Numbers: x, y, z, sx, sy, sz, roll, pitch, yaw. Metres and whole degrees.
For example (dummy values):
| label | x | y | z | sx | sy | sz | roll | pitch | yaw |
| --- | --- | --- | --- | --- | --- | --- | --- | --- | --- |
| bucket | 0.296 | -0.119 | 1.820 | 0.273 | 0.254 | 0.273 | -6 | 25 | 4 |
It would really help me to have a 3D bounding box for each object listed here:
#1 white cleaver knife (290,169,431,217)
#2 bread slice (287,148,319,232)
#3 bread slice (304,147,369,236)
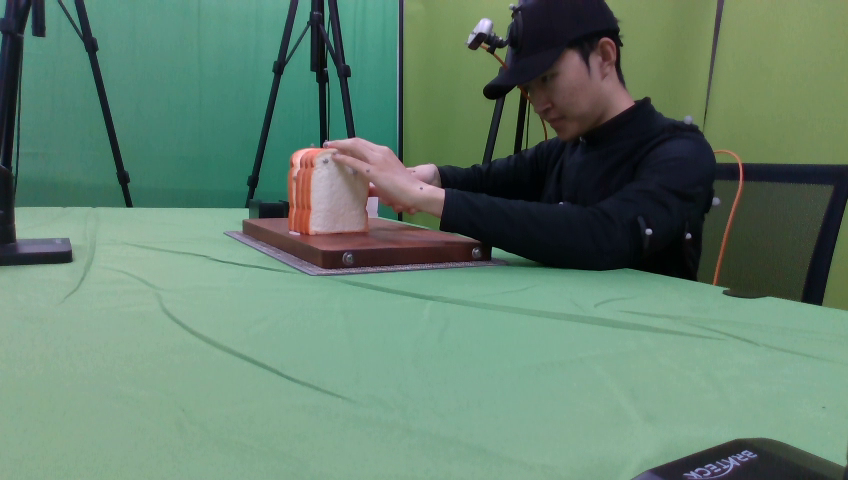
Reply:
| label | x | y | z | sx | sy | sz | roll | pitch | yaw |
| --- | --- | --- | --- | --- | --- | --- | --- | --- | --- |
| white cleaver knife | -0.098 | -0.073 | 1.016 | 0.288 | 0.066 | 0.021 | 3 | 3 | -42 |
| bread slice | -0.170 | -0.079 | 0.957 | 0.105 | 0.131 | 0.019 | -3 | 1 | -45 |
| bread slice | -0.133 | -0.073 | 0.914 | 0.107 | 0.134 | 0.018 | -8 | 13 | -36 |
